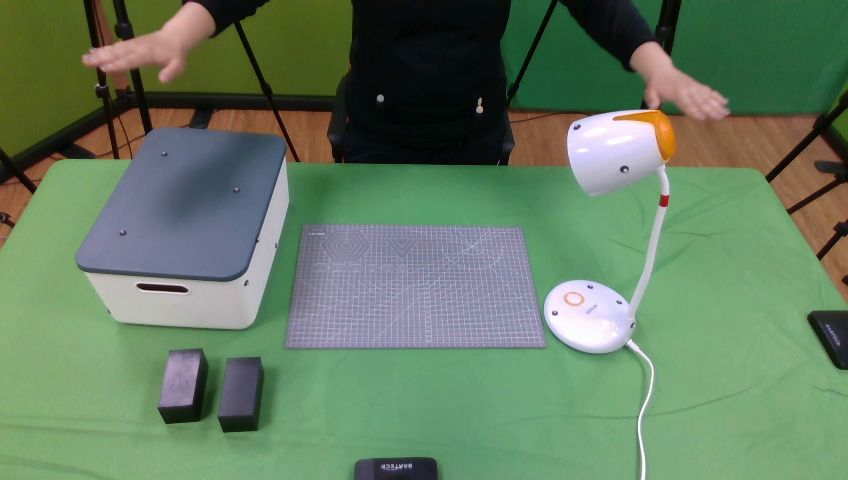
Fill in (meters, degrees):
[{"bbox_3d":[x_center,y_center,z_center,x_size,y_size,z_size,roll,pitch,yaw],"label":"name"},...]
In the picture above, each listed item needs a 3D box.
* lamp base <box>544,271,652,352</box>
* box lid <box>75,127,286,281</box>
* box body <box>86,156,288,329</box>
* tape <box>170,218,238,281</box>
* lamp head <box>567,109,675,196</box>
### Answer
[{"bbox_3d":[0.309,0.086,1.029,0.178,0.181,0.160,32,52,21],"label":"lamp base"},{"bbox_3d":[-0.398,-0.075,1.039,0.263,0.015,0.369,4,45,-1],"label":"box lid"},{"bbox_3d":[-0.401,-0.025,1.094,0.254,0.161,0.362,3,46,-1],"label":"box body"},{"bbox_3d":[-0.406,0.017,1.121,0.117,0.053,0.116,2,46,-2],"label":"tape"},{"bbox_3d":[0.272,-0.123,0.818,0.122,0.113,0.112,-9,35,37],"label":"lamp head"}]
